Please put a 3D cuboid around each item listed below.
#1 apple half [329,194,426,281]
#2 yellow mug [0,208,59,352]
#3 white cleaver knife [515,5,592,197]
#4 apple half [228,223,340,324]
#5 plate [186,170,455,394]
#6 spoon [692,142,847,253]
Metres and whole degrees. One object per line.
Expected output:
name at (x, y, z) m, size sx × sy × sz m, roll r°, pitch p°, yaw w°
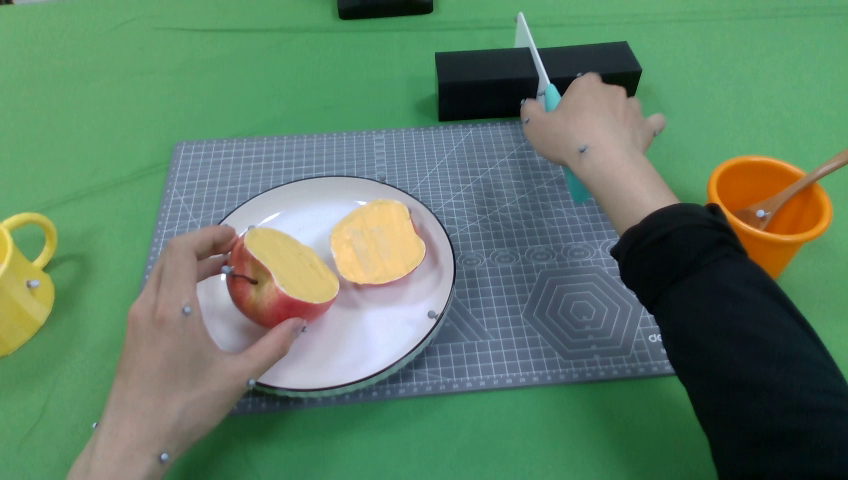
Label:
apple half at (-0.038, 0.004, 0.499) m, size 0.081 × 0.033 × 0.080 m, roll -3°, pitch 64°, yaw 6°
yellow mug at (-0.347, 0.024, 0.477) m, size 0.099 × 0.064 × 0.130 m, roll 24°, pitch 55°, yaw 18°
white cleaver knife at (0.121, -0.142, 0.600) m, size 0.021 × 0.066 × 0.283 m, roll -8°, pitch 48°, yaw 3°
apple half at (-0.108, 0.032, 0.452) m, size 0.080 × 0.075 × 0.053 m, roll 43°, pitch 107°, yaw 12°
plate at (-0.079, 0.030, 0.485) m, size 0.209 × 0.038 × 0.207 m, roll 0°, pitch 52°, yaw 0°
spoon at (0.302, -0.049, 0.476) m, size 0.022 × 0.194 × 0.041 m, roll 26°, pitch 37°, yaw -36°
